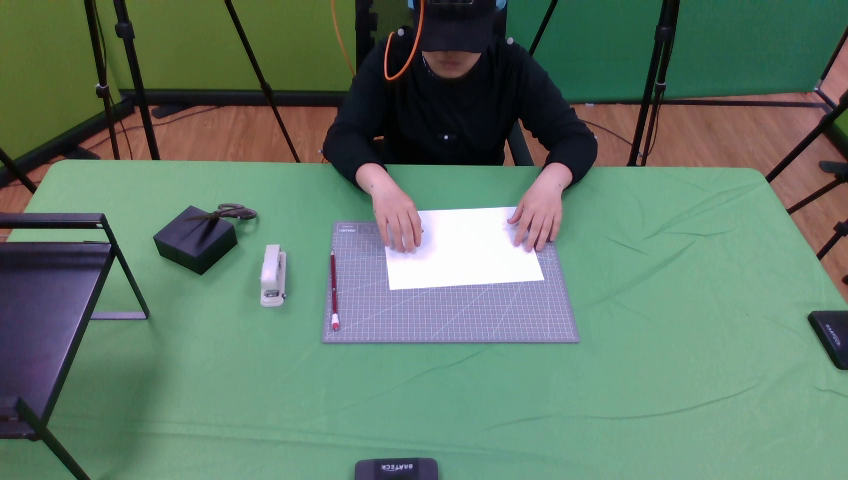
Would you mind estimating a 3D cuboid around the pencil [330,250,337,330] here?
[{"bbox_3d":[-0.167,0.086,1.107,0.012,0.012,0.192,-3,45,-7],"label":"pencil"}]

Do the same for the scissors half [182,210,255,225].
[{"bbox_3d":[-0.389,-0.042,1.158,0.040,0.013,0.175,40,21,22],"label":"scissors half"}]

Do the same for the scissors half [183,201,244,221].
[{"bbox_3d":[-0.405,-0.053,1.163,0.040,0.013,0.175,29,18,7],"label":"scissors half"}]

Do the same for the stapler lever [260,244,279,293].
[{"bbox_3d":[-0.279,0.045,1.096,0.027,0.040,0.117,-1,44,-9],"label":"stapler lever"}]

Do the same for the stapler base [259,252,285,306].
[{"bbox_3d":[-0.279,0.064,1.113,0.041,0.024,0.129,-1,44,-9],"label":"stapler base"}]
